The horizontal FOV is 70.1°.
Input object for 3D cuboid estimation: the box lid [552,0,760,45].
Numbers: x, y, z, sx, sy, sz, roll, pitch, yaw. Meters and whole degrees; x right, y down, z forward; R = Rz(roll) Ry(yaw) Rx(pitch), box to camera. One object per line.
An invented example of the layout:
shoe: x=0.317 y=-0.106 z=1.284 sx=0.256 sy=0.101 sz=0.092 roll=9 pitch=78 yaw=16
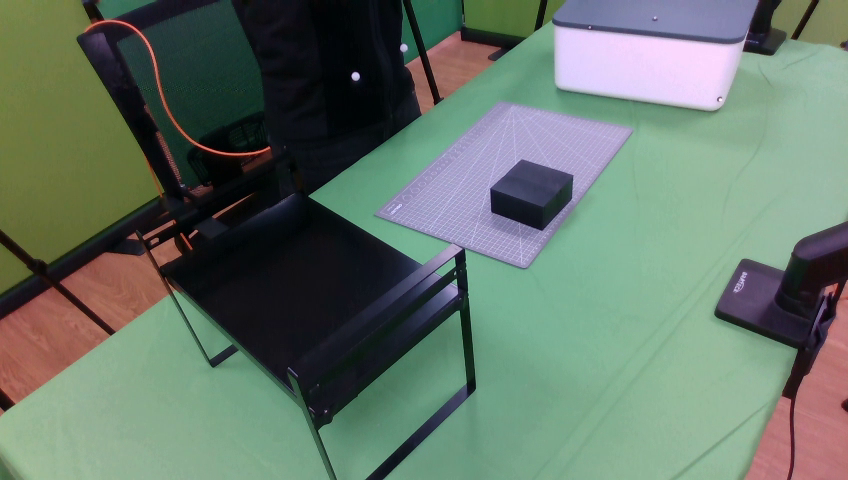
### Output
box lid: x=0.471 y=-0.473 z=1.235 sx=0.369 sy=0.015 sz=0.263 roll=16 pitch=46 yaw=25

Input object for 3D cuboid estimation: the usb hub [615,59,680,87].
usb hub: x=0.484 y=-0.363 z=1.311 sx=0.124 sy=0.025 sz=0.049 roll=21 pitch=46 yaw=27

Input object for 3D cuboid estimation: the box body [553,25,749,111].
box body: x=0.480 y=-0.417 z=1.282 sx=0.362 sy=0.161 sz=0.254 roll=16 pitch=46 yaw=25
